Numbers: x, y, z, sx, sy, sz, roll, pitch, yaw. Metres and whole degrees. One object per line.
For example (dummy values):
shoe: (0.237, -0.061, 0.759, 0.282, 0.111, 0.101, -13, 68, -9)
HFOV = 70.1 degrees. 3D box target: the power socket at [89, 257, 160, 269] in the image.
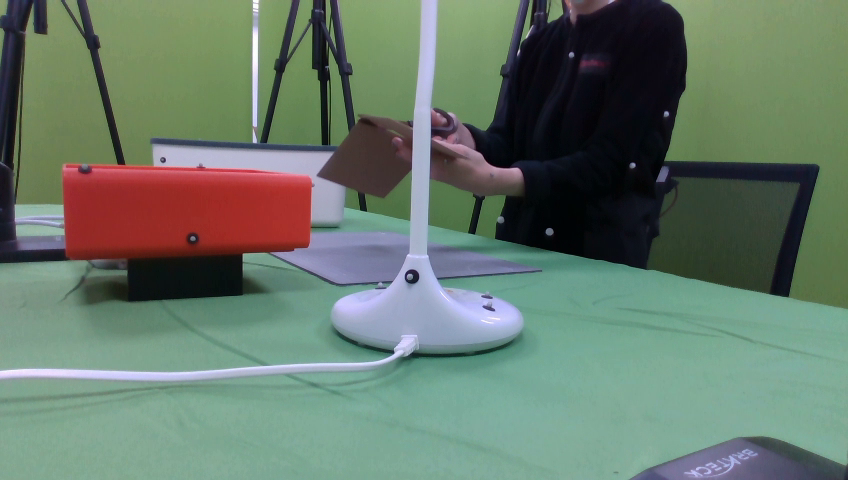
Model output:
power socket: (-0.409, 0.004, 0.793, 0.072, 0.032, 0.225, -2, 8, -38)

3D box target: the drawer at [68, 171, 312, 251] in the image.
drawer: (-0.246, -0.036, 0.629, 0.213, 0.073, 0.193, -3, 9, -30)

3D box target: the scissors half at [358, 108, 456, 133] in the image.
scissors half: (-0.024, -0.183, 0.933, 0.176, 0.040, 0.013, -9, 3, -33)

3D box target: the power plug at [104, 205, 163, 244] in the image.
power plug: (-0.390, -0.021, 0.815, 0.073, 0.052, 0.035, -1, 8, -28)

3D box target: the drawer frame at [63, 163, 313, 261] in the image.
drawer frame: (-0.248, -0.036, 0.626, 0.215, 0.082, 0.200, -3, 9, -31)

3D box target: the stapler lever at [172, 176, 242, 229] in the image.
stapler lever: (-0.217, -0.041, 0.618, 0.027, 0.040, 0.118, 18, 11, -2)

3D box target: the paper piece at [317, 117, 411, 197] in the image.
paper piece: (-0.080, -0.126, 0.960, 0.136, 0.135, 0.004, 13, 44, -33)

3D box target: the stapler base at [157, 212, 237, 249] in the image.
stapler base: (-0.227, -0.017, 0.624, 0.041, 0.024, 0.130, 18, 10, -2)

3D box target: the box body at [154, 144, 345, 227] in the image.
box body: (-0.357, -0.119, 1.264, 0.365, 0.160, 0.253, 0, 7, -18)

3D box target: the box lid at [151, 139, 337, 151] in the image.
box lid: (-0.352, -0.191, 1.256, 0.373, 0.015, 0.262, 0, 8, -18)

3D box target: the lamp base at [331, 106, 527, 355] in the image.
lamp base: (0.006, -0.012, 0.478, 0.161, 0.180, 0.179, 2, 10, 2)

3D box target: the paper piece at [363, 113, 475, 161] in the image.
paper piece: (-0.011, -0.145, 0.854, 0.139, 0.008, 0.135, 24, 4, -25)

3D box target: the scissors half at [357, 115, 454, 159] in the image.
scissors half: (-0.026, -0.162, 0.932, 0.176, 0.040, 0.012, 17, -6, -32)
